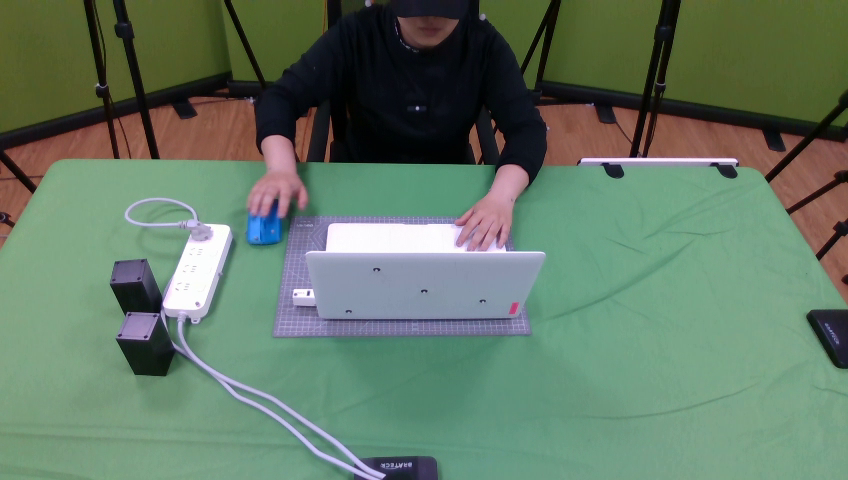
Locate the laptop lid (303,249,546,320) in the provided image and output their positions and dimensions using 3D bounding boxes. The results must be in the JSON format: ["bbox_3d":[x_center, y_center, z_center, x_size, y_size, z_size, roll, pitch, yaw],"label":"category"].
[{"bbox_3d":[-0.003,0.077,0.962,0.357,0.242,0.013,1,58,-5],"label":"laptop lid"}]

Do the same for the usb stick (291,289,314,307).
[{"bbox_3d":[-0.203,0.102,1.066,0.059,0.027,0.021,4,45,-5],"label":"usb stick"}]

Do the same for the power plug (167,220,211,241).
[{"bbox_3d":[-0.438,-0.017,1.143,0.072,0.053,0.035,10,43,7],"label":"power plug"}]

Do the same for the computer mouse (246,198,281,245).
[{"bbox_3d":[-0.317,-0.040,1.201,0.063,0.041,0.116,0,50,-7],"label":"computer mouse"}]

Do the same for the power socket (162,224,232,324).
[{"bbox_3d":[-0.410,0.052,1.107,0.072,0.033,0.225,4,45,-1],"label":"power socket"}]

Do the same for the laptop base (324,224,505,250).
[{"bbox_3d":[-0.014,0.055,1.144,0.355,0.023,0.234,0,42,-4],"label":"laptop base"}]
